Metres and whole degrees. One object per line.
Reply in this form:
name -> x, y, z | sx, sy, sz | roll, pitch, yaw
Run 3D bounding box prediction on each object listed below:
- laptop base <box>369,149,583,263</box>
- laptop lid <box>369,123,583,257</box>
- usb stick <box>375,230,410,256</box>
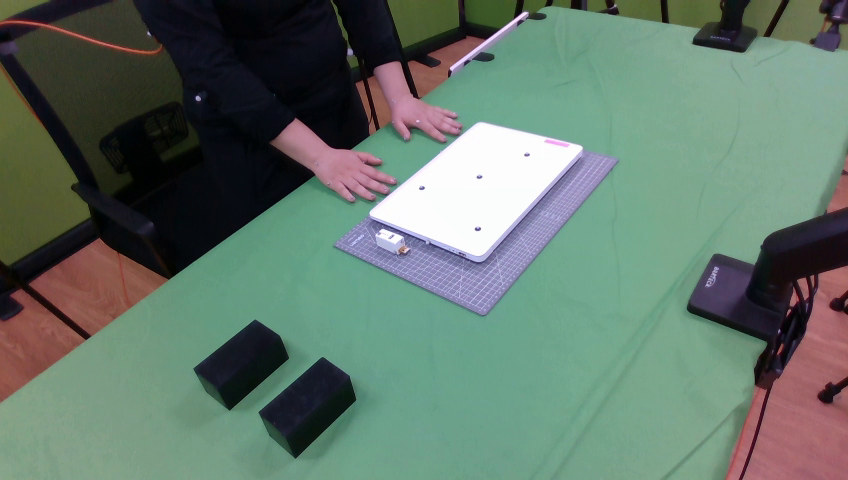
laptop base -> 0.101, -0.096, 1.071 | 0.233, 0.023, 0.355 | 20, 47, 33
laptop lid -> 0.097, -0.106, 1.065 | 0.239, 0.013, 0.358 | 22, 48, 33
usb stick -> -0.049, 0.007, 0.962 | 0.059, 0.027, 0.021 | 24, 46, 28
